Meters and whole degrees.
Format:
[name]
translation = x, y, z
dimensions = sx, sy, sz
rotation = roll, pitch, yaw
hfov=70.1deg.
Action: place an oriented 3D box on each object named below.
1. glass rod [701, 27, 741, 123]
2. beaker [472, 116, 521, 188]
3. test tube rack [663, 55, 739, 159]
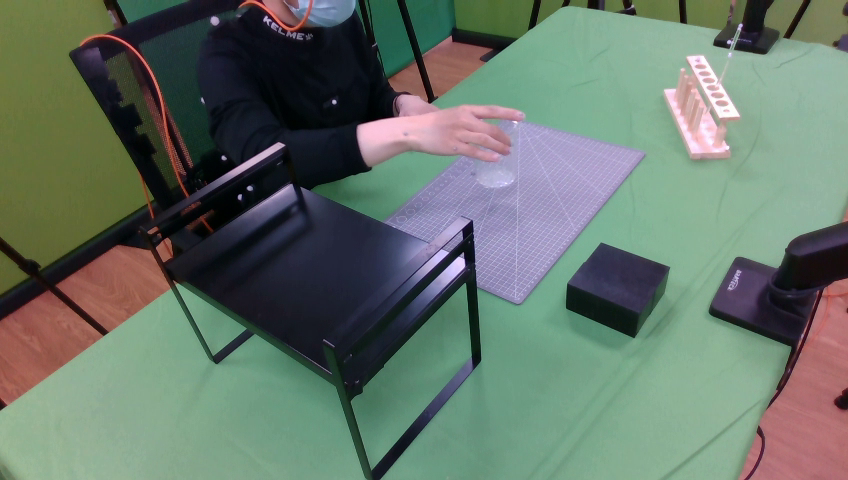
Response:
[glass rod]
translation = 0.527, -0.288, 1.078
dimensions = 0.008, 0.200, 0.008
rotation = -1, 50, 2
[beaker]
translation = 0.121, -0.143, 0.985
dimensions = 0.084, 0.100, 0.073
rotation = -19, 38, -17
[test tube rack]
translation = 0.518, -0.256, 1.144
dimensions = 0.066, 0.085, 0.241
rotation = -1, 41, 8
